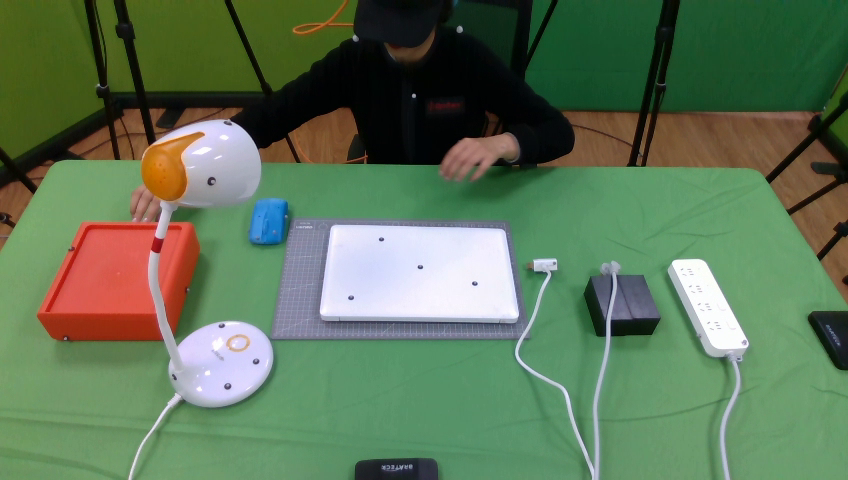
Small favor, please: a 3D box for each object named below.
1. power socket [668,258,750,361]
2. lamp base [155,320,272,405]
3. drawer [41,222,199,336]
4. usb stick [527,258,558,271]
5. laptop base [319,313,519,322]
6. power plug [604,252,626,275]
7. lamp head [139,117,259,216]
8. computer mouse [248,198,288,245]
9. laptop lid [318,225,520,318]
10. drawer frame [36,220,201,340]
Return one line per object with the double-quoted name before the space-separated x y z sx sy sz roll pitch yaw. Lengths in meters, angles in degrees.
"power socket" 0.517 0.118 1.109 0.072 0.033 0.225 -2 46 -4
"lamp base" -0.330 0.149 0.918 0.160 0.181 0.179 26 52 20
"drawer" -0.518 0.064 1.057 0.195 0.073 0.210 1 46 -4
"usb stick" 0.226 0.046 1.158 0.059 0.021 0.027 -2 8 10
"laptop base" -0.009 0.062 1.137 0.354 0.023 0.234 1 42 -3
"power plug" 0.366 0.040 1.130 0.035 0.072 0.052 40 55 -10
"lamp head" -0.281 -0.086 0.734 0.112 0.113 0.123 21 25 16
"computer mouse" -0.309 -0.041 1.205 0.063 0.041 0.116 3 50 -3
"laptop lid" -0.009 0.052 1.131 0.357 0.013 0.240 2 43 -2
"drawer frame" -0.517 0.065 1.055 0.202 0.083 0.212 0 47 -5
